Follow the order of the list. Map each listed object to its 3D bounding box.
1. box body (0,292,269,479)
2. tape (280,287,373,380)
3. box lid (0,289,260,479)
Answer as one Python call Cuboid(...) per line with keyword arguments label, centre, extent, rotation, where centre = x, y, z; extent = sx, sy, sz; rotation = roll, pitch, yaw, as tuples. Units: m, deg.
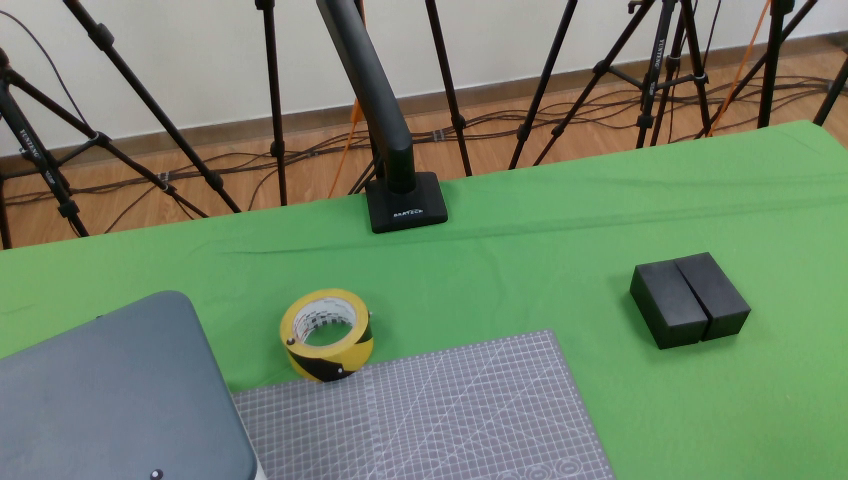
Cuboid(label="box body", centre=(-0.350, 0.250, 0.587), extent=(0.364, 0.162, 0.251), rotation=(-26, 50, -18))
Cuboid(label="tape", centre=(-0.124, 0.117, 0.773), extent=(0.117, 0.053, 0.115), rotation=(-2, 44, 2))
Cuboid(label="box lid", centre=(-0.352, 0.198, 0.533), extent=(0.372, 0.015, 0.260), rotation=(-25, 50, -19))
